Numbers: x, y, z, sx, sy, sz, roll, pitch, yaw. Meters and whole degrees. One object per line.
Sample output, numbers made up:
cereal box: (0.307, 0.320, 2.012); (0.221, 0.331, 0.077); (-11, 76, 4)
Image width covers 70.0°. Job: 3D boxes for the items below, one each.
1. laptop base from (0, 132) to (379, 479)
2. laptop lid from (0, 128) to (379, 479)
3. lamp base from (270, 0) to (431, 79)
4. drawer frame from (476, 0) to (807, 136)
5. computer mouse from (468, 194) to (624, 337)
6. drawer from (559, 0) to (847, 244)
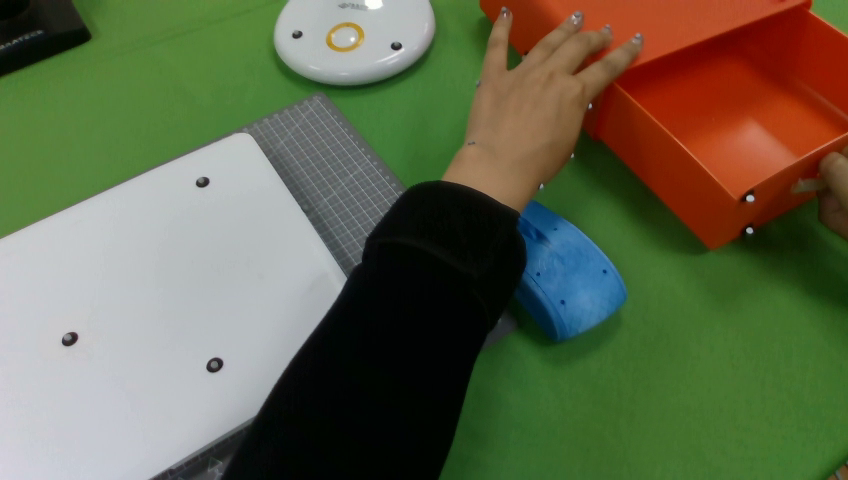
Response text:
laptop base: (-0.236, 0.071, 0.419); (0.354, 0.023, 0.233); (-29, 63, -16)
laptop lid: (-0.235, 0.066, 0.408); (0.357, 0.013, 0.239); (-28, 61, -15)
lamp base: (-0.078, -0.270, 0.544); (0.160, 0.182, 0.177); (-1, 53, 3)
drawer frame: (0.182, -0.217, 0.551); (0.202, 0.083, 0.211); (-24, 57, -11)
computer mouse: (0.084, 0.012, 0.430); (0.063, 0.041, 0.116); (-30, 55, -14)
drawer: (0.240, -0.123, 0.485); (0.194, 0.074, 0.209); (-25, 57, -12)
